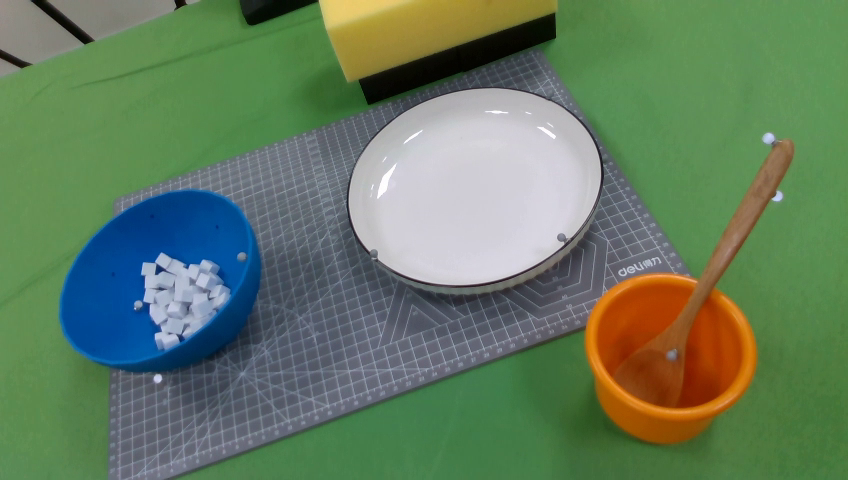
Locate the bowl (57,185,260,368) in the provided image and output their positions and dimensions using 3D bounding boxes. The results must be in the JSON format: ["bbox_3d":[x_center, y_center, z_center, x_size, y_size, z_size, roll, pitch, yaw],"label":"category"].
[{"bbox_3d":[-0.189,0.039,0.473,0.151,0.077,0.150,-6,55,10],"label":"bowl"}]

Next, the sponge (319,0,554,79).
[{"bbox_3d":[0.005,-0.240,0.570,0.207,0.061,0.117,-18,55,0],"label":"sponge"}]

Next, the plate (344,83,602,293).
[{"bbox_3d":[0.038,-0.044,0.501,0.209,0.038,0.207,-6,56,9],"label":"plate"}]

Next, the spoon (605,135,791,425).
[{"bbox_3d":[0.162,0.030,0.358,0.041,0.194,0.022,34,26,29],"label":"spoon"}]
